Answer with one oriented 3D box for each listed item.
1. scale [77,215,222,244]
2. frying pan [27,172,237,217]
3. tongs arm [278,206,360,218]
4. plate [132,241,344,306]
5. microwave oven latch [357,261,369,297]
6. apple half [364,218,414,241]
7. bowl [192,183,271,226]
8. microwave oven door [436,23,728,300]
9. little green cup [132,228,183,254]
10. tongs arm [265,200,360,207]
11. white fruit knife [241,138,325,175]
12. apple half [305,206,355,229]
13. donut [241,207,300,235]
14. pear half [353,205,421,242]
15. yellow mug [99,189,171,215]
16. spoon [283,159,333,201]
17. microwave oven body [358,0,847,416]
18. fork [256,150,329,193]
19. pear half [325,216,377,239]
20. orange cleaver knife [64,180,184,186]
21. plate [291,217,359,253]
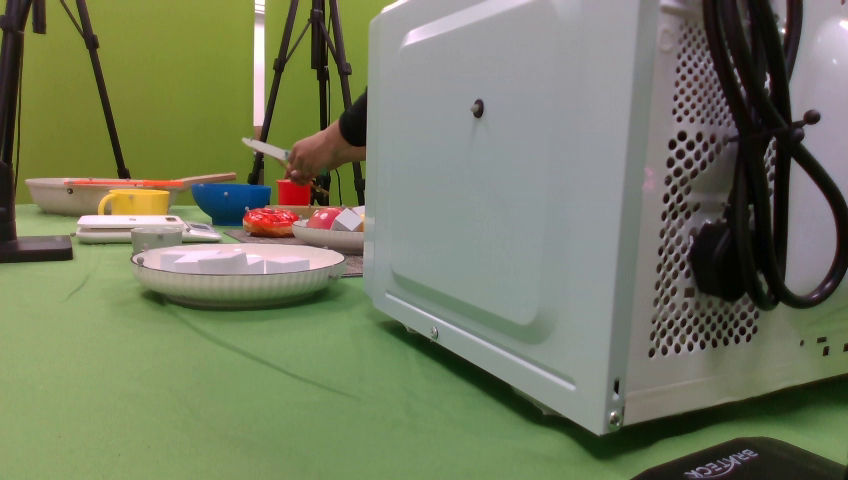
[{"bbox_3d":[-0.434,-0.019,0.963,0.202,0.031,0.148,-1,9,-27],"label":"scale"},{"bbox_3d":[-0.624,-0.118,1.387,0.305,0.102,0.490,8,17,32],"label":"frying pan"},{"bbox_3d":[-0.171,-0.067,1.401,0.387,0.026,0.050,-3,7,-40],"label":"tongs arm"},{"bbox_3d":[-0.187,0.033,0.625,0.208,0.039,0.207,2,7,0],"label":"plate"},{"bbox_3d":[-0.019,0.033,0.531,0.079,0.029,0.030,-1,7,-27],"label":"microwave oven latch"},{"bbox_3d":[-0.054,-0.019,0.968,0.081,0.033,0.081,-3,10,1],"label":"apple half"},{"bbox_3d":[-0.382,-0.071,1.202,0.151,0.077,0.151,3,7,0],"label":"bowl"},{"bbox_3d":[0.180,-0.073,0.621,0.358,0.243,0.039,-2,9,-29],"label":"microwave oven door"},{"bbox_3d":[-0.342,0.006,0.779,0.061,0.038,0.061,2,8,0],"label":"little green cup"},{"bbox_3d":[-0.218,-0.079,1.469,0.389,0.028,0.028,0,3,-26],"label":"tongs arm"},{"bbox_3d":[-0.325,-0.198,1.410,0.208,0.027,0.016,18,15,-28],"label":"white fruit knife"},{"bbox_3d":[-0.138,-0.025,0.917,0.081,0.053,0.074,0,10,-43],"label":"apple half"},{"bbox_3d":[-0.263,-0.032,1.039,0.099,0.048,0.099,5,9,0],"label":"donut"},{"bbox_3d":[-0.051,-0.023,0.905,0.110,0.056,0.076,2,-2,-38],"label":"pear half"},{"bbox_3d":[-0.519,-0.055,1.080,0.099,0.064,0.131,6,9,26],"label":"yellow mug"},{"bbox_3d":[-0.316,-0.158,1.640,0.194,0.022,0.041,-49,32,-20],"label":"spoon"},{"bbox_3d":[0.211,-0.047,0.474,0.444,0.260,0.324,-1,7,-28],"label":"microwave oven body"},{"bbox_3d":[-0.322,-0.168,1.496,0.208,0.018,0.028,34,-25,-27],"label":"fork"},{"bbox_3d":[-0.118,-0.023,0.996,0.088,0.031,0.070,-4,23,-27],"label":"pear half"},{"bbox_3d":[-0.595,-0.114,1.212,0.212,0.012,0.077,-4,7,-41],"label":"orange cleaver knife"},{"bbox_3d":[-0.103,-0.009,0.945,0.209,0.038,0.209,2,7,0],"label":"plate"}]
